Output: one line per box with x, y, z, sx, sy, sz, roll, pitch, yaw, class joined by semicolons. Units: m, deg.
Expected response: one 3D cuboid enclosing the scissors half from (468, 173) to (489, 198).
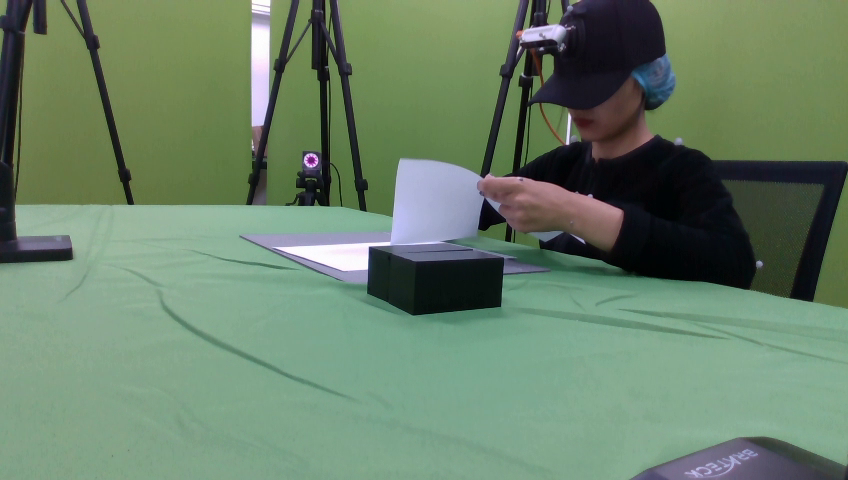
0.093;-0.089;1.016;0.013;0.040;0.175;8;10;-5;scissors half

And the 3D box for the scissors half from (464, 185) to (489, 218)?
0.088;-0.068;1.015;0.013;0.040;0.175;13;-13;-5;scissors half
